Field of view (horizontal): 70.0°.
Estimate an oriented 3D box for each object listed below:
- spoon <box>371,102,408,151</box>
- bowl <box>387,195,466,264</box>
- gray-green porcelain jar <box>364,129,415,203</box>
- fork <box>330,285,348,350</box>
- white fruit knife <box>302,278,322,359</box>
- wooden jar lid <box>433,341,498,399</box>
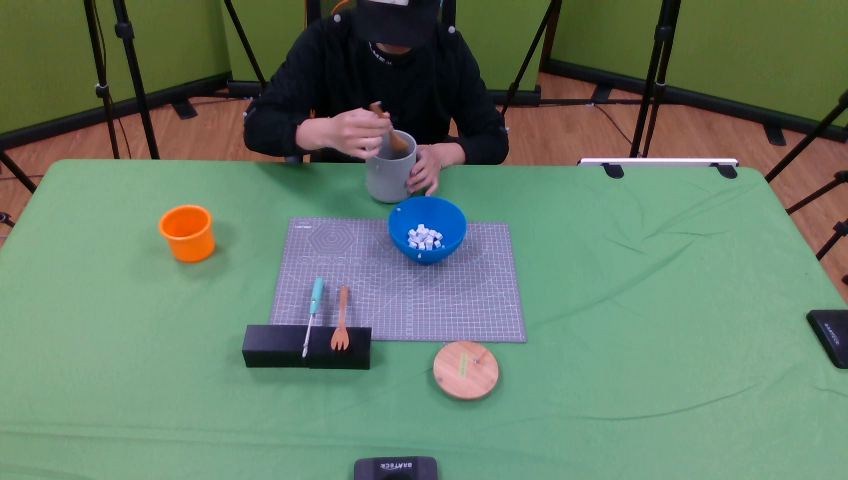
[{"bbox_3d":[-0.069,-0.210,1.133,0.041,0.194,0.021,-6,69,11],"label":"spoon"},{"bbox_3d":[0.003,-0.007,1.162,0.151,0.077,0.150,2,46,-2],"label":"bowl"},{"bbox_3d":[-0.072,-0.150,1.264,0.106,0.127,0.105,2,46,-2],"label":"gray-green porcelain jar"},{"bbox_3d":[-0.140,0.127,1.021,0.028,0.019,0.206,-5,28,-2],"label":"fork"},{"bbox_3d":[-0.189,0.126,1.020,0.016,0.027,0.206,-1,33,-2],"label":"white fruit knife"},{"bbox_3d":[0.068,0.216,0.997,0.108,0.021,0.107,1,46,-1],"label":"wooden jar lid"}]
